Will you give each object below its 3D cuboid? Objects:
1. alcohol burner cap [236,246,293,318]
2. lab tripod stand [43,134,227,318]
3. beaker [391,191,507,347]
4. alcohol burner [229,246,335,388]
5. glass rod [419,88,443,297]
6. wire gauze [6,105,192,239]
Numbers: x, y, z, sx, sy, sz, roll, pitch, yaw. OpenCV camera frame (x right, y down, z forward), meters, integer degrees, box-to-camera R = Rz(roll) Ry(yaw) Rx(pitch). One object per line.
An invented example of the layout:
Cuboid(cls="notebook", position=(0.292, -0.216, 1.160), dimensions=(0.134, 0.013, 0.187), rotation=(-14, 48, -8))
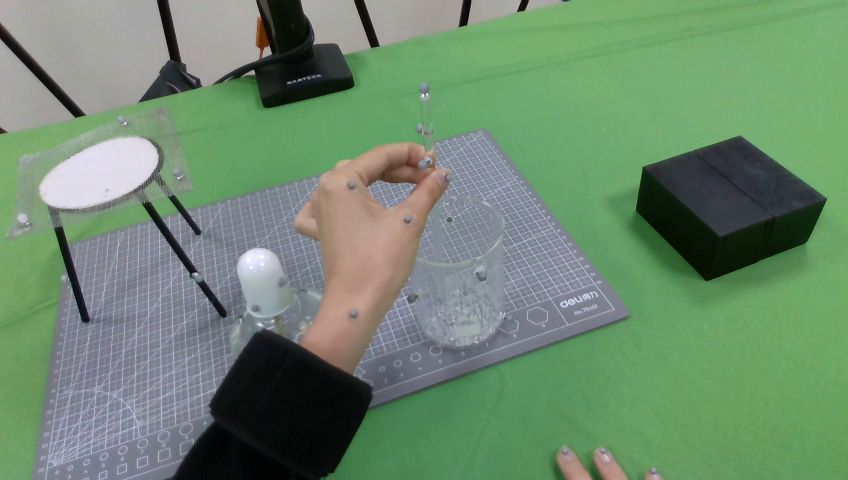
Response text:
Cuboid(cls="alcohol burner cap", position=(-0.109, 0.026, 0.408), dimensions=(0.034, 0.048, 0.033), rotation=(-3, 40, 3))
Cuboid(cls="lab tripod stand", position=(-0.237, -0.006, 0.499), dimensions=(0.148, 0.133, 0.147), rotation=(-4, 45, 5))
Cuboid(cls="beaker", position=(0.022, 0.026, 0.452), dimensions=(0.084, 0.101, 0.073), rotation=(-20, 44, -11))
Cuboid(cls="alcohol burner", position=(-0.105, 0.052, 0.434), dimensions=(0.078, 0.120, 0.077), rotation=(-5, 42, 5))
Cuboid(cls="glass rod", position=(0.006, -0.021, 0.427), dimensions=(0.008, 0.201, 0.008), rotation=(-2, 48, 3))
Cuboid(cls="wire gauze", position=(-0.244, -0.054, 0.453), dimensions=(0.125, 0.011, 0.120), rotation=(-22, 45, -13))
